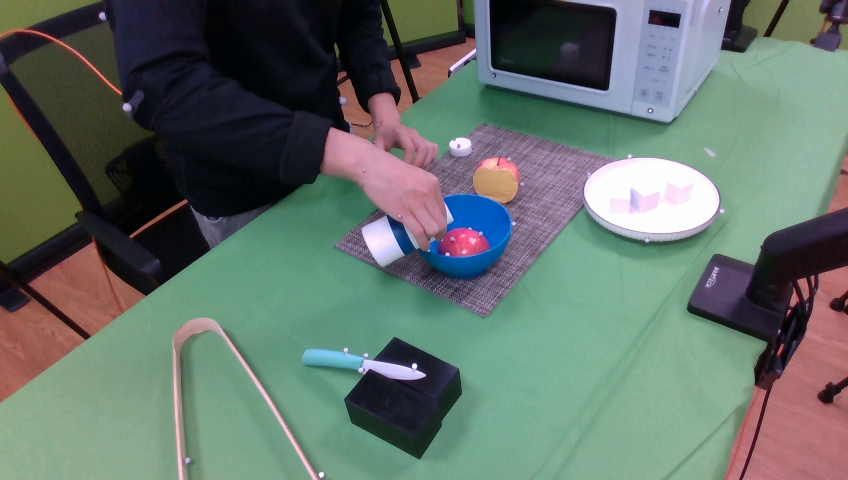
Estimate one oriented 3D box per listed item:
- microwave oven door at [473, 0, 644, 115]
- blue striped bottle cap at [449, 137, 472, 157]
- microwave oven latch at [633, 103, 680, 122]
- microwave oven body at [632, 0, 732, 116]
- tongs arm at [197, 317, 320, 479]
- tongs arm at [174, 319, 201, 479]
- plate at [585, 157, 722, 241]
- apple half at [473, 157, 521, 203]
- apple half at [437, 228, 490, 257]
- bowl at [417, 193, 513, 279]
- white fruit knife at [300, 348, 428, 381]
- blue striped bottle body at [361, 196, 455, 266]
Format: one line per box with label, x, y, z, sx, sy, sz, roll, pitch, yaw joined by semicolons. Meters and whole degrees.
microwave oven door;0.257;-0.396;1.199;0.353;0.245;0.039;21;48;29
blue striped bottle cap;0.071;-0.180;1.169;0.044;0.021;0.044;-5;43;5
microwave oven latch;0.444;-0.249;1.158;0.078;0.029;0.030;21;49;30
microwave oven body;0.377;-0.463;1.267;0.438;0.261;0.327;21;49;30
tongs arm;-0.199;0.207;0.751;0.028;0.028;0.384;-31;45;-22
tongs arm;-0.272;0.234;0.723;0.051;0.026;0.381;-18;40;-15
plate;0.367;-0.063;0.979;0.207;0.039;0.206;-4;40;4
apple half;0.128;-0.107;1.030;0.080;0.075;0.053;4;38;19
apple half;0.056;0.002;0.901;0.081;0.033;0.081;-3;40;3
bowl;0.058;0.005;0.905;0.151;0.077;0.150;-4;40;4
white fruit knife;-0.080;0.154;0.748;0.206;0.027;0.016;1;20;34
blue striped bottle body;-0.020;-0.017;0.825;0.121;0.063;0.062;-26;41;3
